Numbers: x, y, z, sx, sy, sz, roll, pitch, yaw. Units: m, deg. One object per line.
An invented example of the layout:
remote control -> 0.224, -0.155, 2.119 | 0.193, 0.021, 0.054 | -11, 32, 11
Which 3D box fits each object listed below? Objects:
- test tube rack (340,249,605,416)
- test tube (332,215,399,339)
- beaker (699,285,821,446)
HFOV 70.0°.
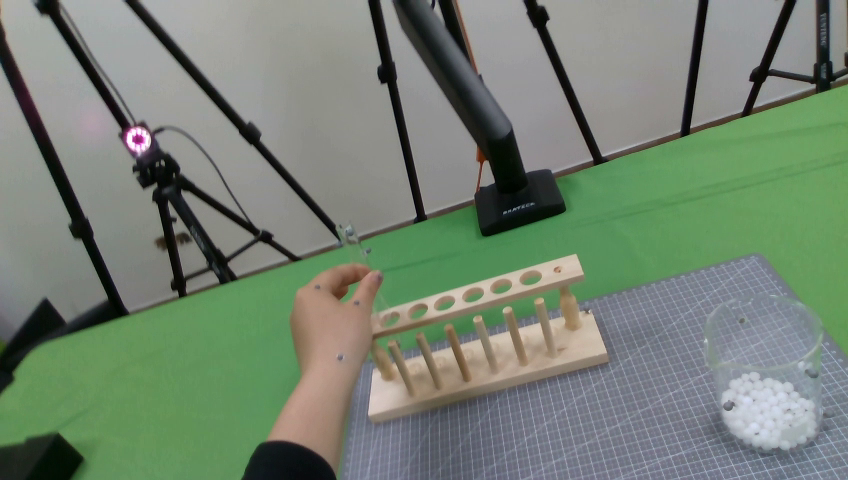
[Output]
test tube rack -> 0.044, 0.094, 0.599 | 0.242, 0.086, 0.066 | -17, 32, 10
test tube -> -0.053, 0.040, 0.580 | 0.017, 0.152, 0.017 | -14, 34, 10
beaker -> 0.246, 0.096, 0.445 | 0.084, 0.101, 0.073 | -27, 31, -5
